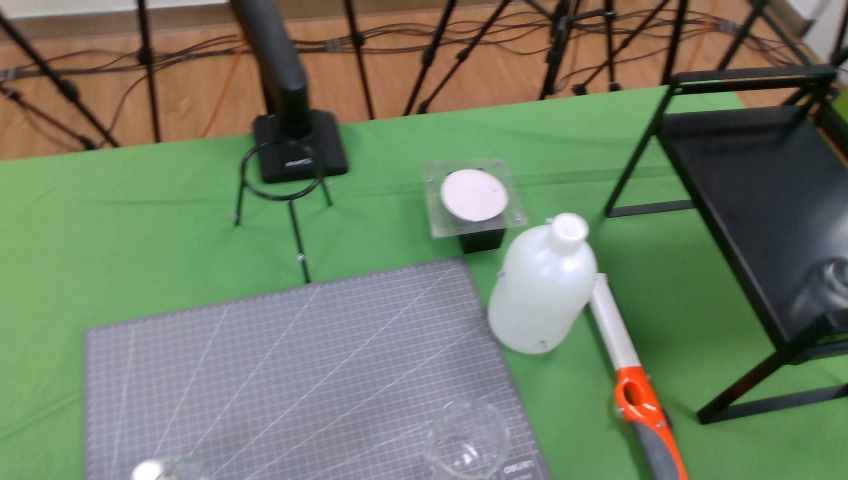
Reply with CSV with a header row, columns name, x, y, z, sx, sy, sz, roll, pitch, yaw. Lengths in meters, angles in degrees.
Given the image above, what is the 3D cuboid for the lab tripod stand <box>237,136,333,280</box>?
name,x,y,z,sx,sy,sz,roll,pitch,yaw
lab tripod stand,-0.160,-0.044,0.723,0.149,0.132,0.147,5,56,-6

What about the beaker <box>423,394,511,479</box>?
name,x,y,z,sx,sy,sz,roll,pitch,yaw
beaker,0.035,0.206,0.592,0.084,0.101,0.073,-13,57,-15

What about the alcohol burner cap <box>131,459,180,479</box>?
name,x,y,z,sx,sy,sz,roll,pitch,yaw
alcohol burner cap,-0.227,0.202,0.508,0.034,0.048,0.033,2,50,-2

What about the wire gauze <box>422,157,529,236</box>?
name,x,y,z,sx,sy,sz,roll,pitch,yaw
wire gauze,0.064,-0.061,0.780,0.122,0.011,0.124,-4,56,-10

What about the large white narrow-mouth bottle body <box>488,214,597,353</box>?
name,x,y,z,sx,sy,sz,roll,pitch,yaw
large white narrow-mouth bottle body,0.133,0.042,0.664,0.102,0.196,0.101,3,55,-4

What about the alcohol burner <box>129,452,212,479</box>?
name,x,y,z,sx,sy,sz,roll,pitch,yaw
alcohol burner,-0.230,0.223,0.538,0.078,0.120,0.077,5,53,-6

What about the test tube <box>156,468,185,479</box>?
name,x,y,z,sx,sy,sz,roll,pitch,yaw
test tube,-0.152,0.194,0.406,0.017,0.151,0.017,2,44,-1

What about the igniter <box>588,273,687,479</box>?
name,x,y,z,sx,sy,sz,roll,pitch,yaw
igniter,0.238,0.157,0.700,0.057,0.025,0.273,2,54,-19

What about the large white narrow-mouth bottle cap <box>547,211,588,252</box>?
name,x,y,z,sx,sy,sz,roll,pitch,yaw
large white narrow-mouth bottle cap,0.140,-0.008,0.595,0.038,0.024,0.037,3,55,-4
